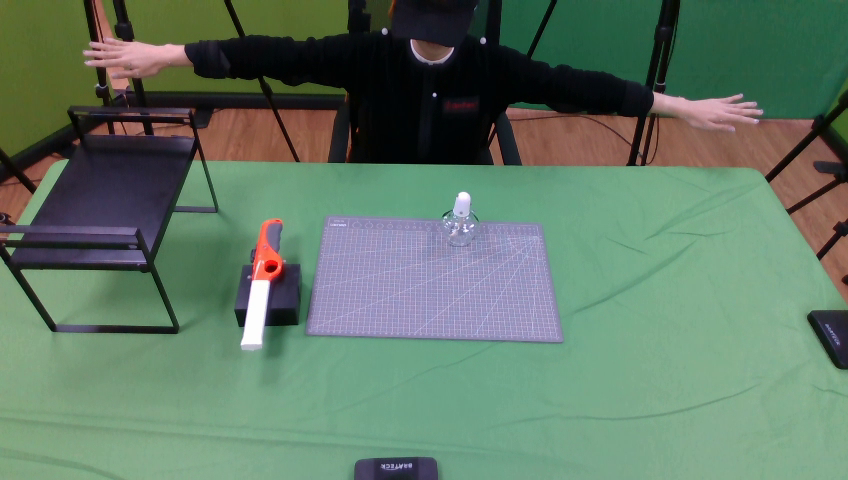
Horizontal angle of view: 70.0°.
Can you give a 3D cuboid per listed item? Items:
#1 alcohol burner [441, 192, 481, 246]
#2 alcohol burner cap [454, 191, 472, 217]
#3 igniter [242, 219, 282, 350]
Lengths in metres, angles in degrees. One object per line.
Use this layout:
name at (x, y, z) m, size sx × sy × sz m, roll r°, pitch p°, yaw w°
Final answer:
alcohol burner at (0.073, -0.046, 1.176) m, size 0.078 × 0.119 × 0.077 m, roll 2°, pitch 44°, yaw -2°
alcohol burner cap at (0.076, -0.070, 1.150) m, size 0.034 × 0.048 × 0.033 m, roll 3°, pitch 42°, yaw -2°
igniter at (-0.277, 0.065, 1.043) m, size 0.057 × 0.025 × 0.274 m, roll 1°, pitch 48°, yaw -6°
